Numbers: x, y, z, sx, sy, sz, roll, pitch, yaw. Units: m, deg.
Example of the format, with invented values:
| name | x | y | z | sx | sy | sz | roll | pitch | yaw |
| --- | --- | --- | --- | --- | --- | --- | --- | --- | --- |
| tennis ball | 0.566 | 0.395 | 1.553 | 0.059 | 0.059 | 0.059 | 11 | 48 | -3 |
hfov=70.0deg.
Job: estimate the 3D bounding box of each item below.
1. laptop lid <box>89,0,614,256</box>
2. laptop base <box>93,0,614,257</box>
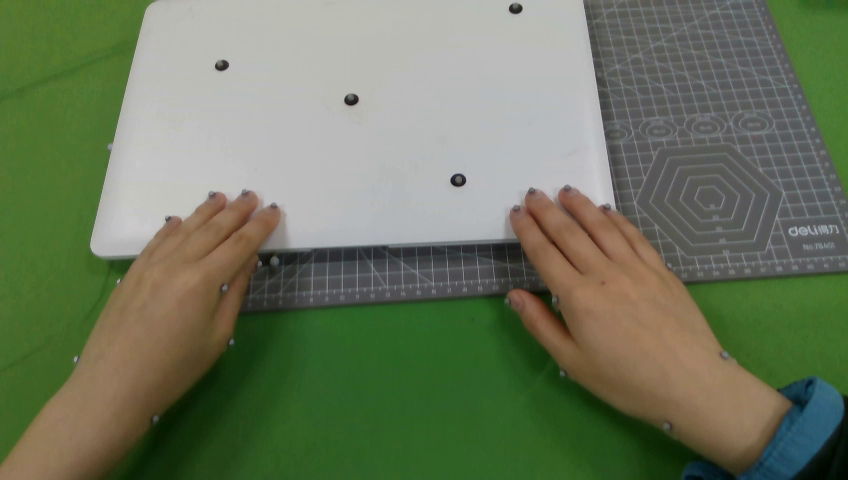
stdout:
| name | x | y | z | sx | sy | sz | roll | pitch | yaw |
| --- | --- | --- | --- | --- | --- | --- | --- | --- | --- |
| laptop lid | -0.053 | -0.103 | 0.442 | 0.356 | 0.013 | 0.240 | -1 | 66 | 3 |
| laptop base | -0.052 | -0.099 | 0.453 | 0.354 | 0.023 | 0.233 | -2 | 67 | 3 |
